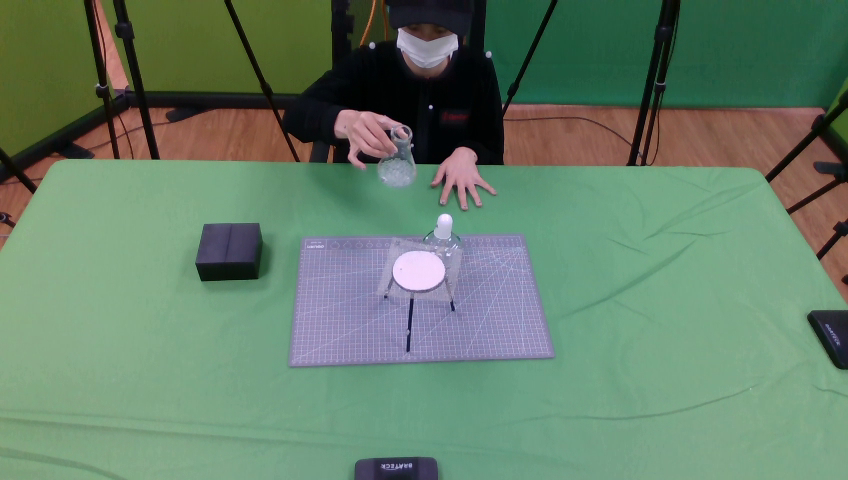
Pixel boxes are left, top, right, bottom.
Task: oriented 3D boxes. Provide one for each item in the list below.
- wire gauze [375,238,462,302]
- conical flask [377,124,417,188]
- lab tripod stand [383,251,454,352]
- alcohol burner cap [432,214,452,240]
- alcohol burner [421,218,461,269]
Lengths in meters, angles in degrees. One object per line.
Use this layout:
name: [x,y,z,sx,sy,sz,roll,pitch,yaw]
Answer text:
wire gauze: [-0.006,0.048,0.977,0.121,0.011,0.124,9,45,5]
conical flask: [-0.045,-0.155,1.090,0.075,0.122,0.075,3,60,-6]
lab tripod stand: [-0.015,0.094,1.025,0.148,0.132,0.147,1,46,-1]
alcohol burner cap: [0.035,-0.027,1.110,0.034,0.048,0.033,7,42,-6]
alcohol burner: [0.033,-0.001,1.135,0.078,0.119,0.077,3,48,-3]
